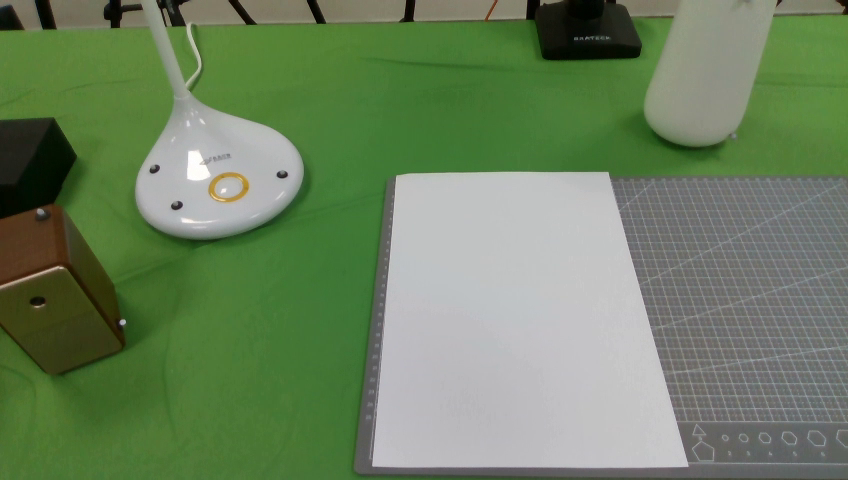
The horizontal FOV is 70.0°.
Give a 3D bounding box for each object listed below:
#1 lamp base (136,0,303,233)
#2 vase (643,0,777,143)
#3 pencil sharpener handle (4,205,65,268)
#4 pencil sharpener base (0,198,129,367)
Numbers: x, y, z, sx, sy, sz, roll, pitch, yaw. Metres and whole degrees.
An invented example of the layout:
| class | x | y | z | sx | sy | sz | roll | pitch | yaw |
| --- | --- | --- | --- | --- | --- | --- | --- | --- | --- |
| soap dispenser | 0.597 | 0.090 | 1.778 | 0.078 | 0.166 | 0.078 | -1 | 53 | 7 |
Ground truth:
| class | x | y | z | sx | sy | sz | roll | pitch | yaw |
| --- | --- | --- | --- | --- | --- | --- | --- | --- | --- |
| lamp base | -0.210 | -0.126 | 0.547 | 0.161 | 0.182 | 0.177 | -30 | 51 | -23 |
| vase | 0.275 | -0.192 | 0.576 | 0.098 | 0.202 | 0.097 | -2 | 47 | 2 |
| pencil sharpener handle | -0.303 | -0.008 | 0.479 | 0.036 | 0.068 | 0.030 | -18 | 49 | -20 |
| pencil sharpener base | -0.278 | 0.033 | 0.458 | 0.061 | 0.108 | 0.076 | -22 | 51 | -16 |
